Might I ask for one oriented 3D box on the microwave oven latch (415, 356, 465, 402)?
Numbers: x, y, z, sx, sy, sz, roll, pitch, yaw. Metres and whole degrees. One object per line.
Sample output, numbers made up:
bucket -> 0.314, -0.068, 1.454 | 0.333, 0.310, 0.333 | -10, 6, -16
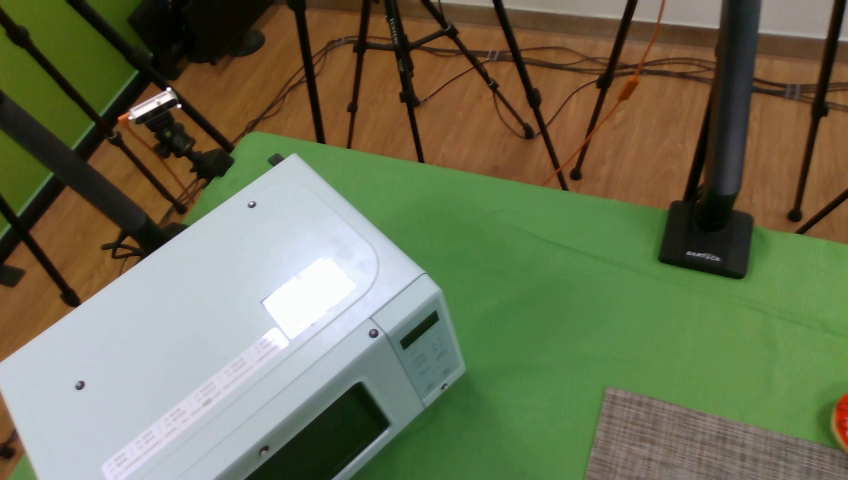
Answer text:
microwave oven latch -> 0.021, 0.183, 0.827 | 0.079, 0.030, 0.030 | -38, 58, -13

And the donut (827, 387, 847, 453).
donut -> 0.533, 0.218, 0.715 | 0.099, 0.049, 0.098 | -7, 51, 10

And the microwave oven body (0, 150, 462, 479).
microwave oven body -> -0.224, 0.156, 0.777 | 0.441, 0.263, 0.323 | -40, 59, -14

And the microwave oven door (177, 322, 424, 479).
microwave oven door -> -0.163, 0.261, 0.688 | 0.355, 0.246, 0.039 | -40, 57, -15
